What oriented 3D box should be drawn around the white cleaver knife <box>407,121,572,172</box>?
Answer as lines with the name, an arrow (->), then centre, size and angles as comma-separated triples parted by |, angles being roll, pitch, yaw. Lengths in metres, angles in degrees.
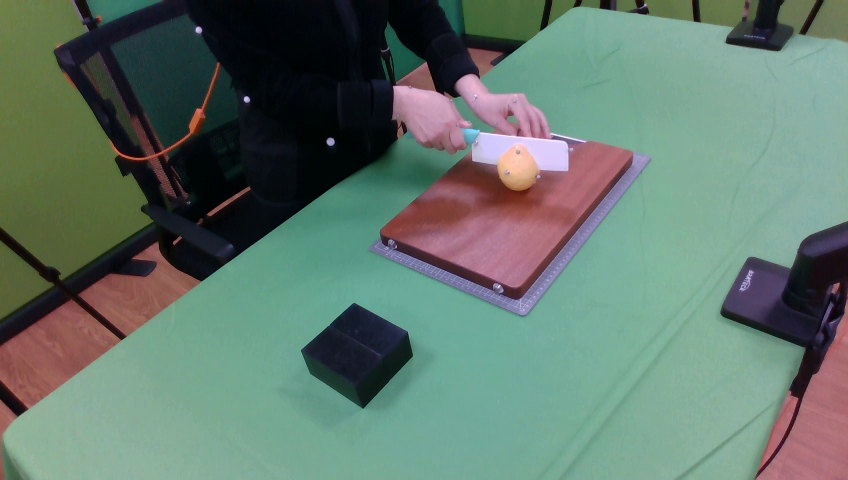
white cleaver knife -> 0.103, -0.153, 1.002 | 0.285, 0.066, 0.021 | 12, 41, 19

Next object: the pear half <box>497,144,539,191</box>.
pear half -> 0.153, -0.114, 0.996 | 0.070, 0.088, 0.031 | 7, 46, 13

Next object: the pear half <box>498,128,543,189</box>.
pear half -> 0.163, -0.145, 1.015 | 0.076, 0.110, 0.056 | 8, 43, 14
